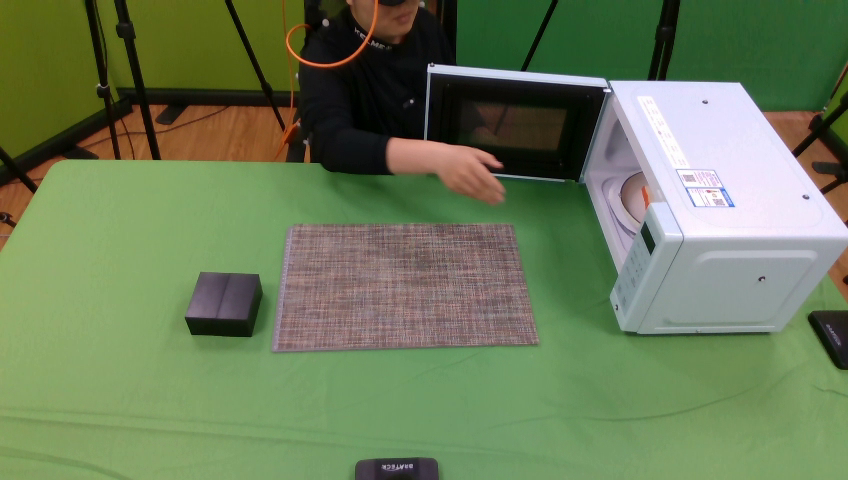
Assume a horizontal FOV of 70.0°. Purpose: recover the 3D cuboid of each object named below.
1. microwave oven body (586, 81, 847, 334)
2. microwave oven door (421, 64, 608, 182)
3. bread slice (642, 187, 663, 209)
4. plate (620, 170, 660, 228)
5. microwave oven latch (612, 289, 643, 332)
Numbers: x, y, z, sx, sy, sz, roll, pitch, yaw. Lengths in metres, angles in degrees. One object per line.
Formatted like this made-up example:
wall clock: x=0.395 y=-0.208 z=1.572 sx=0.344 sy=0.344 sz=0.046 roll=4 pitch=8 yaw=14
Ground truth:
microwave oven body: x=0.501 y=-0.070 z=1.132 sx=0.326 sy=0.261 sz=0.438 roll=-1 pitch=45 yaw=-3
microwave oven door: x=0.177 y=-0.239 z=1.266 sx=0.356 sy=0.245 sz=0.039 roll=5 pitch=46 yaw=1
bread slice: x=0.493 y=-0.058 z=1.195 sx=0.105 sy=0.019 sz=0.131 roll=6 pitch=44 yaw=4
plate: x=0.489 y=-0.060 z=1.194 sx=0.209 sy=0.038 sz=0.208 roll=3 pitch=45 yaw=-2
microwave oven latch: x=0.357 y=0.124 z=1.068 sx=0.030 sy=0.029 sz=0.078 roll=0 pitch=45 yaw=-3
